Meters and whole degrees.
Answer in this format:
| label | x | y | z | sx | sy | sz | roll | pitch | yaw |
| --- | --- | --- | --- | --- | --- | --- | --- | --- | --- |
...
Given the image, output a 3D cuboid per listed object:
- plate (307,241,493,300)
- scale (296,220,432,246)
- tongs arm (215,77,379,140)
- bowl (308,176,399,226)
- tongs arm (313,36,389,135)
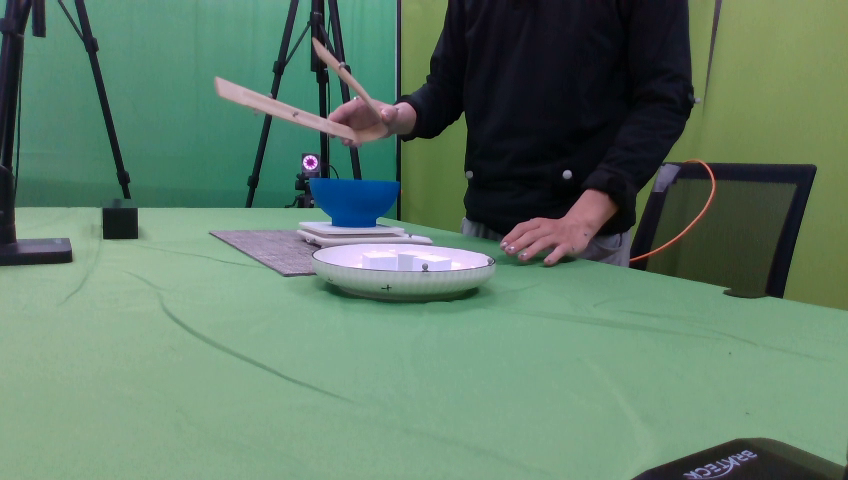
| label | x | y | z | sx | sy | sz | roll | pitch | yaw |
| --- | --- | --- | --- | --- | --- | --- | --- | --- | --- |
| plate | -0.027 | 0.034 | 0.684 | 0.208 | 0.039 | 0.207 | 2 | 7 | 0 |
| scale | -0.101 | -0.012 | 1.017 | 0.202 | 0.031 | 0.148 | -1 | 8 | -30 |
| tongs arm | -0.163 | -0.188 | 0.890 | 0.050 | 0.026 | 0.386 | -20 | -6 | 17 |
| bowl | -0.116 | -0.064 | 1.001 | 0.151 | 0.077 | 0.151 | 2 | 6 | 0 |
| tongs arm | -0.096 | -0.210 | 0.873 | 0.028 | 0.027 | 0.388 | -23 | -6 | 6 |
